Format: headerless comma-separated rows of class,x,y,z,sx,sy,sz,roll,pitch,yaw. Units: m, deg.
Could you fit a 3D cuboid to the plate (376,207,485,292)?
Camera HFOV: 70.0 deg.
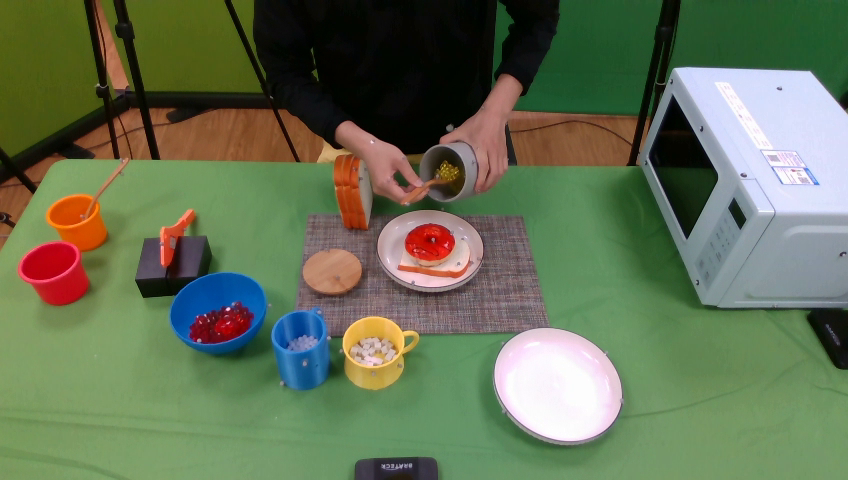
plate,0.012,0.021,1.159,0.209,0.038,0.208,2,47,-2

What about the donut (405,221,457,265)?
donut,0.013,0.004,1.136,0.099,0.048,0.098,0,46,0

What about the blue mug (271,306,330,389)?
blue mug,-0.188,0.163,0.969,0.082,0.106,0.116,15,47,10

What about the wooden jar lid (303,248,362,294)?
wooden jar lid,-0.169,0.059,1.122,0.108,0.021,0.107,2,46,-2

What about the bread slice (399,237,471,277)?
bread slice,0.026,0.024,1.161,0.131,0.019,0.104,8,47,8

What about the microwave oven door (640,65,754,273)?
microwave oven door,0.522,-0.147,1.193,0.039,0.245,0.353,0,47,-3

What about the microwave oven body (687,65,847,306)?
microwave oven body,0.669,-0.111,1.176,0.326,0.261,0.439,0,46,-3

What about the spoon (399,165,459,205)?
spoon,0.008,-0.098,1.059,0.041,0.022,0.193,22,29,22

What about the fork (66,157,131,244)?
fork,-0.608,-0.074,1.132,0.207,0.019,0.028,-52,49,10

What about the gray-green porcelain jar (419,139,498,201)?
gray-green porcelain jar,0.070,-0.133,1.127,0.105,0.106,0.126,33,29,25

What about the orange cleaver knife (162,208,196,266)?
orange cleaver knife,-0.454,-0.010,1.129,0.012,0.077,0.210,-1,17,-6

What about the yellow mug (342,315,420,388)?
yellow mug,-0.068,0.177,0.990,0.131,0.064,0.099,-15,50,-19

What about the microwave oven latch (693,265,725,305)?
microwave oven latch,0.522,0.081,1.115,0.030,0.029,0.078,2,46,-1

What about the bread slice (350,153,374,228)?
bread slice,-0.124,-0.104,1.207,0.018,0.135,0.106,-2,48,7

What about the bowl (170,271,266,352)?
bowl,-0.333,0.132,1.006,0.151,0.077,0.150,2,46,-2

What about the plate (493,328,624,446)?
plate,0.213,0.236,0.974,0.208,0.039,0.206,2,46,-2
